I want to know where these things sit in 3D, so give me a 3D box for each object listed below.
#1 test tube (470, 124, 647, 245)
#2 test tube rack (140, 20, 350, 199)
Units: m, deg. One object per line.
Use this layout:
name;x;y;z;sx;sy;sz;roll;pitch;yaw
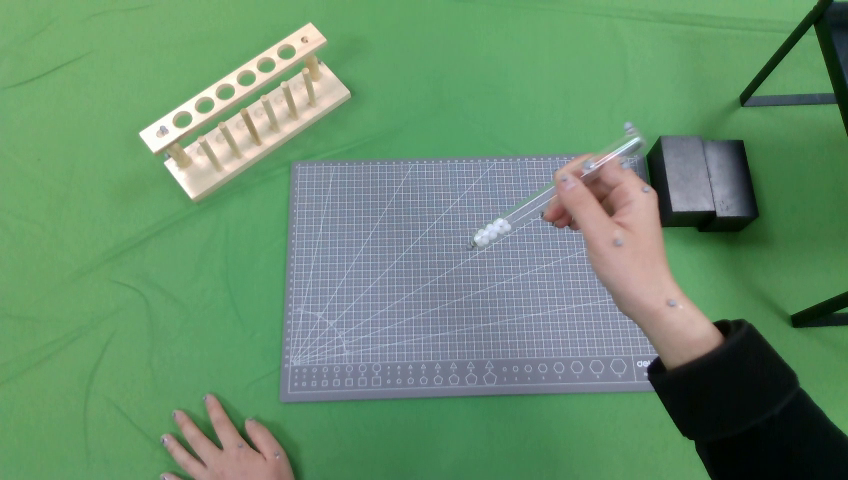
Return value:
test tube;0.093;-0.036;0.443;0.150;0.017;0.017;-34;69;28
test tube rack;-0.211;-0.160;0.747;0.242;0.085;0.066;-38;75;-12
